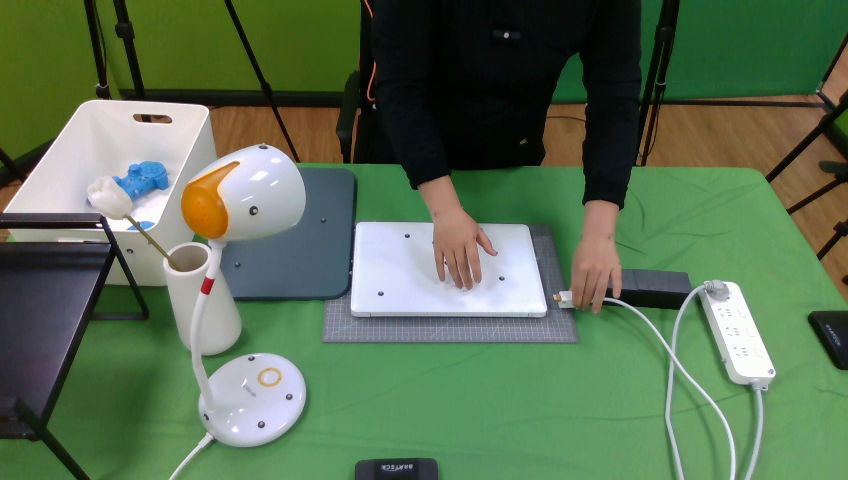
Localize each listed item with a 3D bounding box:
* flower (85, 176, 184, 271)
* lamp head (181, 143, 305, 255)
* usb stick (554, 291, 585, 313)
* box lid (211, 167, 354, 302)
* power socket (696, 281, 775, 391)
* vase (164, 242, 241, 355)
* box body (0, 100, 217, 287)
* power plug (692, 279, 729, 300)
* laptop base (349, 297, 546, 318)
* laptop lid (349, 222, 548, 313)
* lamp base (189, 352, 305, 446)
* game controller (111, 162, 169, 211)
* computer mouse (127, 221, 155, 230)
[{"bbox_3d":[-0.365,0.038,0.894,0.038,0.364,0.044,-4,53,15],"label":"flower"},{"bbox_3d":[-0.216,-0.044,0.697,0.112,0.113,0.123,23,31,17],"label":"lamp head"},{"bbox_3d":[0.258,0.111,1.092,0.059,0.027,0.021,18,38,-14],"label":"usb stick"},{"bbox_3d":[-0.276,-0.024,1.205,0.263,0.015,0.369,0,46,-4],"label":"box lid"},{"bbox_3d":[0.550,0.160,1.079,0.072,0.033,0.225,2,46,-1],"label":"power socket"},{"bbox_3d":[-0.349,0.096,0.953,0.098,0.201,0.097,3,47,-3],"label":"vase"},{"bbox_3d":[-0.559,-0.092,1.144,0.254,0.161,0.361,3,46,-2],"label":"box body"},{"bbox_3d":[0.522,0.091,1.116,0.072,0.053,0.035,10,47,7],"label":"power plug"},{"bbox_3d":[0.040,0.056,1.149,0.355,0.023,0.234,1,43,-4],"label":"laptop base"},{"bbox_3d":[0.041,0.046,1.142,0.357,0.013,0.240,2,44,-3],"label":"laptop lid"},{"bbox_3d":[-0.268,0.197,0.876,0.160,0.181,0.179,26,52,20],"label":"lamp base"},{"bbox_3d":[-0.597,-0.113,1.234,0.097,0.052,0.155,29,51,20],"label":"game controller"},{"bbox_3d":[-0.537,0.009,1.127,0.062,0.041,0.117,31,55,21],"label":"computer mouse"}]
